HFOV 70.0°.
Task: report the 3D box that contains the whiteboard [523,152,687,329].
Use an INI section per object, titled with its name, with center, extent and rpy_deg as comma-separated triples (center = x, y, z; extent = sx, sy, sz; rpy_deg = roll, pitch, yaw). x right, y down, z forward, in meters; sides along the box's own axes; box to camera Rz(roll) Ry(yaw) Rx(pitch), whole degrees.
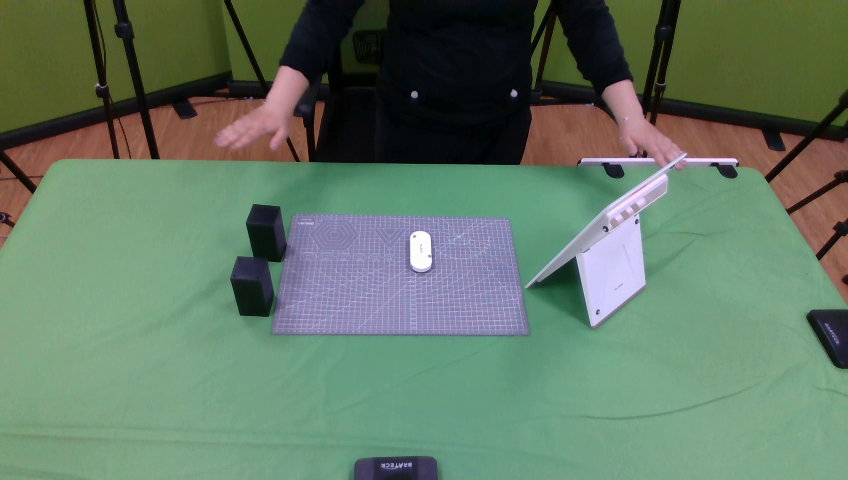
[whiteboard]
center = 0.346, 0.025, 1.046
extent = 0.217, 0.306, 0.143
rpy_deg = -30, 74, -29

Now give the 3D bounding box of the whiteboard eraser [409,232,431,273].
[whiteboard eraser]
center = -0.009, 0.023, 1.173
extent = 0.041, 0.019, 0.100
rpy_deg = 1, 45, -2
